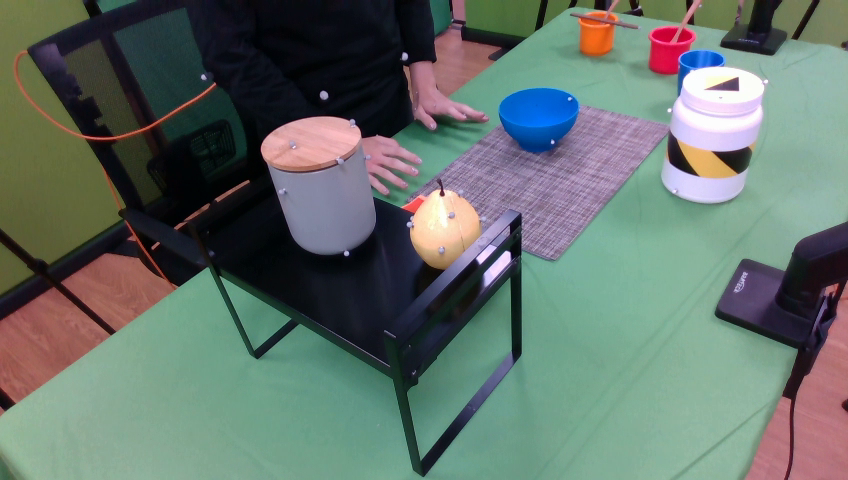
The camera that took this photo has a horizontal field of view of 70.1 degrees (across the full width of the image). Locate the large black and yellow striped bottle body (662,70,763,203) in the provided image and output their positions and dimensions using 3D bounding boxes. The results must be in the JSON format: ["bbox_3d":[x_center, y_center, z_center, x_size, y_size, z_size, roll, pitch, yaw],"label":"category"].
[{"bbox_3d":[0.464,-0.166,0.976,0.131,0.185,0.130,-5,41,5],"label":"large black and yellow striped bottle body"}]

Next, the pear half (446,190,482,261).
[{"bbox_3d":[0.046,-0.020,0.665,0.031,0.088,0.070,-17,38,-8],"label":"pear half"}]

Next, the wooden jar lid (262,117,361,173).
[{"bbox_3d":[-0.122,-0.101,0.663,0.108,0.021,0.108,-3,39,3],"label":"wooden jar lid"}]

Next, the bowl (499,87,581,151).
[{"bbox_3d":[0.220,-0.223,1.156,0.151,0.077,0.150,-5,40,4],"label":"bowl"}]

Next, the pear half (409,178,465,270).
[{"bbox_3d":[0.010,-0.019,0.654,0.056,0.110,0.076,-17,37,-9],"label":"pear half"}]

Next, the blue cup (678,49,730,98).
[{"bbox_3d":[0.542,-0.310,1.194,0.092,0.101,0.092,-6,41,6],"label":"blue cup"}]

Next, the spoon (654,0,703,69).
[{"bbox_3d":[0.569,-0.462,1.335,0.041,0.022,0.193,34,99,37],"label":"spoon"}]

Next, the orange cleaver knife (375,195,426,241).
[{"bbox_3d":[-0.037,-0.029,0.973,0.210,0.077,0.012,-8,33,50],"label":"orange cleaver knife"}]

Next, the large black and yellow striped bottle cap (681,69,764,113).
[{"bbox_3d":[0.453,-0.229,0.921,0.115,0.019,0.114,-4,39,4],"label":"large black and yellow striped bottle cap"}]

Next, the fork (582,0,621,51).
[{"bbox_3d":[0.446,-0.539,1.438,0.207,0.019,0.028,-57,36,12],"label":"fork"}]

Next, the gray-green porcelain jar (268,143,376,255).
[{"bbox_3d":[-0.114,-0.055,0.704,0.106,0.127,0.105,-4,40,4],"label":"gray-green porcelain jar"}]

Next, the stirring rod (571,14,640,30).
[{"bbox_3d":[0.419,-0.508,1.404,0.174,0.006,0.014,28,55,35],"label":"stirring rod"}]
